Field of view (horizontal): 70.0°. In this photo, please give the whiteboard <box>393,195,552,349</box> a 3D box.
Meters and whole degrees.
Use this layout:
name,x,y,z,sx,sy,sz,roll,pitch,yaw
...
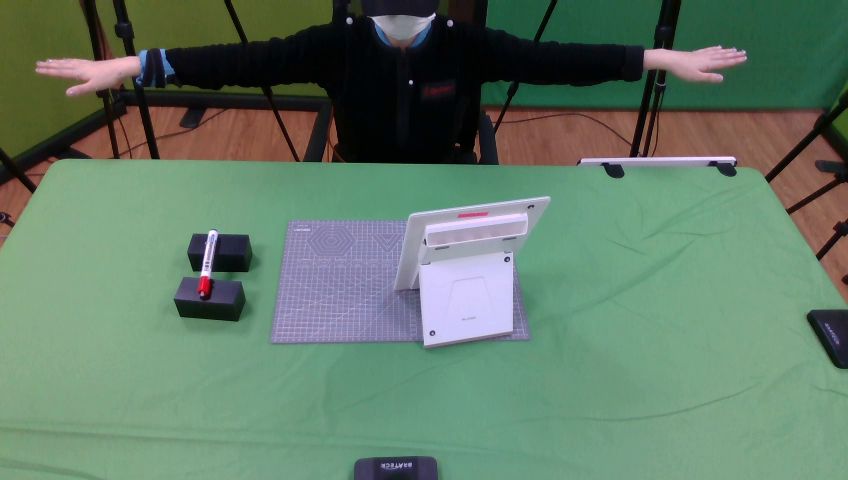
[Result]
name,x,y,z,sx,sy,sz,roll,pitch,yaw
whiteboard,0.077,0.071,0.977,0.217,0.306,0.143,-7,66,-11

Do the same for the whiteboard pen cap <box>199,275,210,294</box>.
name,x,y,z,sx,sy,sz,roll,pitch,yaw
whiteboard pen cap,-0.372,0.075,1.030,0.017,0.017,0.032,-4,48,-8

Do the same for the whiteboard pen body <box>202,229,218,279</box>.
name,x,y,z,sx,sy,sz,roll,pitch,yaw
whiteboard pen body,-0.378,0.033,1.068,0.017,0.017,0.139,-2,47,-7
